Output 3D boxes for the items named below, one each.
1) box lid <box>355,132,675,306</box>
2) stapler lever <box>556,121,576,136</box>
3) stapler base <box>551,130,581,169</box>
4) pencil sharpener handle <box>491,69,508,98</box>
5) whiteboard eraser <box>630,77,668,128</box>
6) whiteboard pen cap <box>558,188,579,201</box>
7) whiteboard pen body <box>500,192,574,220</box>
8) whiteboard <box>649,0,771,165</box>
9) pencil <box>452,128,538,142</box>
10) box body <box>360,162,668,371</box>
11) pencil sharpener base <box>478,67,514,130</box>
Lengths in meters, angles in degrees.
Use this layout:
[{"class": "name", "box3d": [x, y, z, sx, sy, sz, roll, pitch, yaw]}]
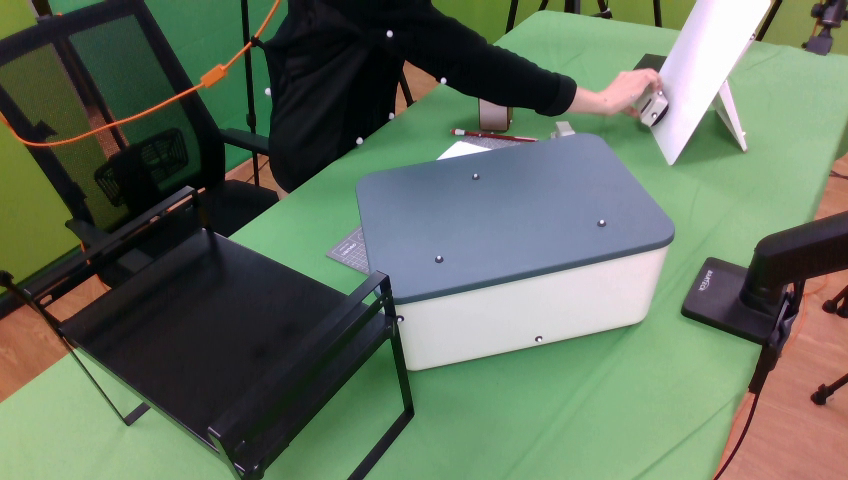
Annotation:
[{"class": "box lid", "box3d": [0.103, -0.042, 0.785, 0.372, 0.015, 0.261, -12, 41, -5]}, {"class": "stapler lever", "box3d": [0.266, -0.198, 1.128, 0.027, 0.040, 0.117, 0, 38, 3]}, {"class": "stapler base", "box3d": [0.268, -0.178, 1.142, 0.041, 0.024, 0.130, 1, 37, 3]}, {"class": "pencil sharpener handle", "box3d": [0.155, -0.330, 1.254, 0.036, 0.068, 0.030, 17, 44, 4]}, {"class": "whiteboard eraser", "box3d": [0.435, -0.264, 1.164, 0.042, 0.055, 0.112, 18, 39, -12]}, {"class": "whiteboard pen cap", "box3d": [0.245, -0.076, 1.028, 0.033, 0.018, 0.018, -18, 42, -15]}, {"class": "whiteboard pen body", "box3d": [0.191, -0.059, 1.011, 0.141, 0.017, 0.017, -18, 41, -15]}, {"class": "whiteboard", "box3d": [0.543, -0.298, 1.076, 0.144, 0.305, 0.216, 12, 40, -7]}, {"class": "pencil", "box3d": [0.146, -0.207, 1.205, 0.193, 0.012, 0.012, 11, 43, 20]}, {"class": "box body", "box3d": [0.109, 0.014, 0.833, 0.365, 0.161, 0.252, -11, 41, -5]}, {"class": "pencil sharpener base", "box3d": [0.148, -0.287, 1.224, 0.061, 0.107, 0.076, 5, 42, 15]}]
